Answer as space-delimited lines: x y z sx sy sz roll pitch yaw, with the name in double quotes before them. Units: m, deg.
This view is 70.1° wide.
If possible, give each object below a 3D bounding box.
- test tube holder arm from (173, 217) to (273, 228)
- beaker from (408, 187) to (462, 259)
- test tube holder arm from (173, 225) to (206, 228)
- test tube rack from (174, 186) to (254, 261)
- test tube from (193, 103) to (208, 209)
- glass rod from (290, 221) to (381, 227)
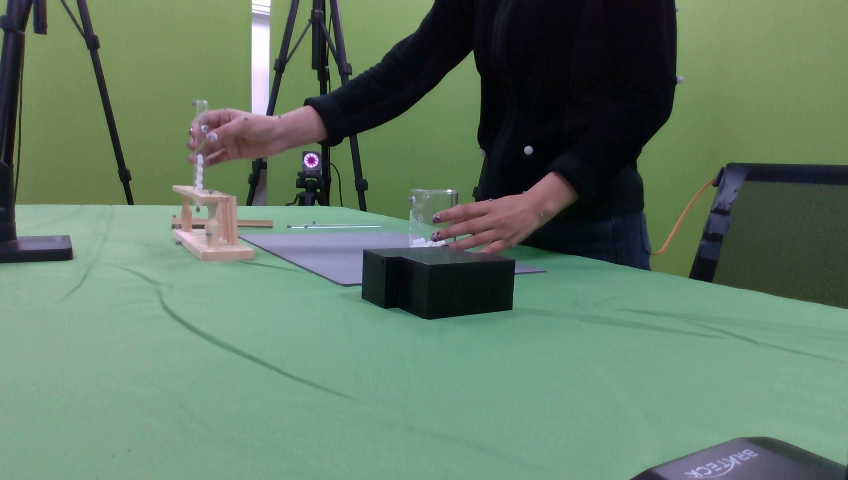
"test tube holder arm" -0.372 -0.032 1.128 0.179 0.015 0.013 0 -25 -26
"beaker" 0.013 -0.027 0.884 0.074 0.100 0.083 -1 7 -23
"test tube holder arm" -0.415 -0.029 1.113 0.088 0.015 0.010 0 -25 -25
"test tube rack" -0.314 -0.030 0.888 0.067 0.085 0.241 -2 8 -30
"test tube" -0.318 -0.119 0.860 0.017 0.150 0.017 4 5 0
"glass rod" -0.179 -0.033 1.247 0.201 0.008 0.008 -3 8 -30
